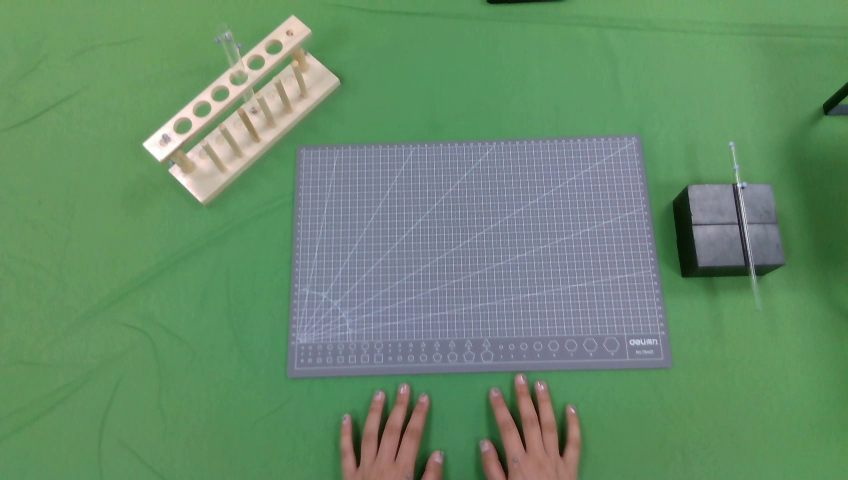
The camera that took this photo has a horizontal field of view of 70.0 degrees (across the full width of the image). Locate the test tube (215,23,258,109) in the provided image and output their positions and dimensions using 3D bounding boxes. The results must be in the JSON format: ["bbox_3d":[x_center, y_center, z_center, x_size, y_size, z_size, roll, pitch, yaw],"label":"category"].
[{"bbox_3d":[-0.222,-0.203,0.727,0.017,0.151,0.017,1,69,-2],"label":"test tube"}]

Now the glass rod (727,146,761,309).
[{"bbox_3d":[0.369,-0.018,0.700,0.008,0.008,0.198,-1,73,1],"label":"glass rod"}]

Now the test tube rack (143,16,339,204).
[{"bbox_3d":[-0.223,-0.163,0.767,0.066,0.085,0.242,42,78,13],"label":"test tube rack"}]
